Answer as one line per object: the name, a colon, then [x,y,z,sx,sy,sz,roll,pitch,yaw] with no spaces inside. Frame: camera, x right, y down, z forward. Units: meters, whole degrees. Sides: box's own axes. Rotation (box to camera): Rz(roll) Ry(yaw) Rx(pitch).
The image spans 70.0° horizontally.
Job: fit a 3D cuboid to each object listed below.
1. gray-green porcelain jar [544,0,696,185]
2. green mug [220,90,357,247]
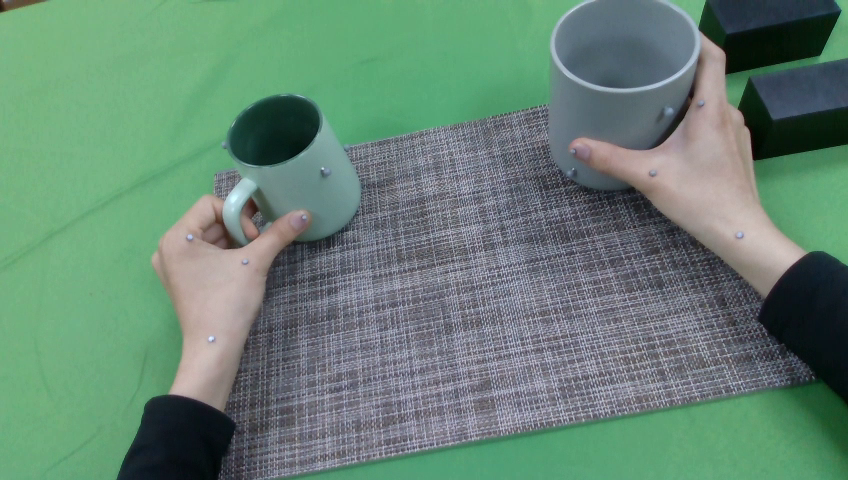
gray-green porcelain jar: [0.150,-0.114,0.487,0.106,0.128,0.105,-5,58,8]
green mug: [-0.120,-0.049,0.511,0.092,0.106,0.125,24,66,23]
